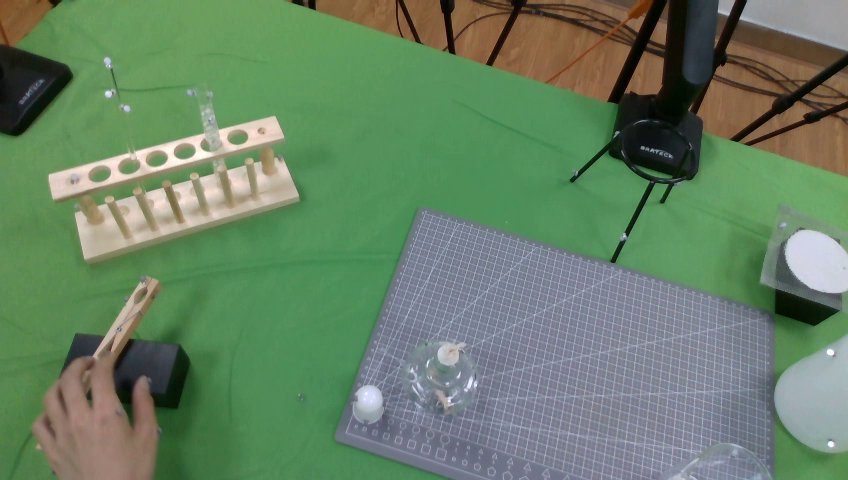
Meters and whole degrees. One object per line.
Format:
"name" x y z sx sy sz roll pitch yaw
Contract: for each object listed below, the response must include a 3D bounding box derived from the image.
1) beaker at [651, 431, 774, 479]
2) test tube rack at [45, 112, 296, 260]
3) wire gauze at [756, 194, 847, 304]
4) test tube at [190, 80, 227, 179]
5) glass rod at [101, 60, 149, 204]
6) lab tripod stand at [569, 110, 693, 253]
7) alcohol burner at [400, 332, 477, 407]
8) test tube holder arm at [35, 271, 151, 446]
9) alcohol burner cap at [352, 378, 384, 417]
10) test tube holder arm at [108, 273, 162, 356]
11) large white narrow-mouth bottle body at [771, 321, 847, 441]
"beaker" 0.264 0.230 0.575 0.084 0.101 0.073 14 59 3
"test tube rack" -0.276 -0.063 0.687 0.243 0.086 0.066 -19 64 -17
"wire gauze" 0.465 0.013 0.721 0.121 0.011 0.124 24 60 7
"test tube" -0.234 -0.115 0.664 0.017 0.151 0.017 4 58 -6
"glass rod" -0.308 -0.102 0.629 0.008 0.201 0.008 6 52 -7
"lab tripod stand" 0.252 -0.076 0.730 0.148 0.132 0.147 3 62 -6
"alcohol burner" 0.017 0.122 0.598 0.078 0.120 0.077 4 60 -7
"test tube holder arm" -0.305 0.106 0.571 0.013 0.015 0.177 19 59 5
"alcohol burner cap" -0.057 0.157 0.611 0.034 0.048 0.033 2 61 -4
"test tube holder arm" -0.285 0.072 0.593 0.010 0.015 0.087 20 59 5
"large white narrow-mouth bottle body" 0.442 0.130 0.600 0.102 0.196 0.101 3 60 -4
